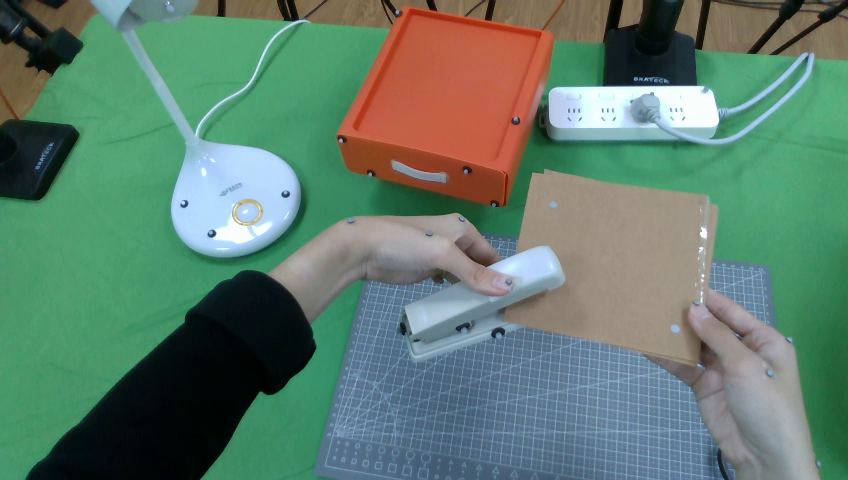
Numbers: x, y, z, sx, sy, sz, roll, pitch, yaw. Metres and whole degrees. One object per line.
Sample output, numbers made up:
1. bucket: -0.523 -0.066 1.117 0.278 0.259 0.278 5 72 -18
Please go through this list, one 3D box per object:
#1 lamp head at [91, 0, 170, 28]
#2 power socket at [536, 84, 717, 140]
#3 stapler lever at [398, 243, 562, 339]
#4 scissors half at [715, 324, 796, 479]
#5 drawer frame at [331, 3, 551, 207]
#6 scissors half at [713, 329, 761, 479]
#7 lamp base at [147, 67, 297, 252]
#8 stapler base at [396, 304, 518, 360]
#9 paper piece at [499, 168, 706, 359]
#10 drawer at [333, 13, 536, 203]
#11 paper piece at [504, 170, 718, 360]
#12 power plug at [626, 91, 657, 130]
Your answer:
1. lamp head: -0.227 -0.234 0.438 0.123 0.112 0.112 46 68 -15
2. power socket: 0.260 -0.166 0.782 0.226 0.033 0.071 2 61 5
3. stapler lever: 0.038 0.035 0.423 0.118 0.040 0.026 -19 57 -2
4. scissors half: 0.322 0.163 0.600 0.040 0.013 0.173 -7 59 -4
5. drawer frame: 0.026 -0.167 0.725 0.201 0.083 0.212 15 64 13
6. scissors half: 0.301 0.163 0.599 0.040 0.013 0.174 10 58 0
7. lamp base: -0.253 -0.101 0.698 0.177 0.182 0.160 38 69 26
8. stapler base: 0.043 0.047 0.445 0.130 0.025 0.041 -19 57 -1
9. paper piece: 0.135 0.010 0.450 0.135 0.009 0.137 10 64 13
10. drawer: 0.025 -0.163 0.720 0.194 0.074 0.210 15 62 13
11. paper piece: 0.144 0.012 0.461 0.135 0.004 0.135 14 64 19
12. power plug: 0.266 -0.152 0.747 0.035 0.053 0.072 11 62 10
